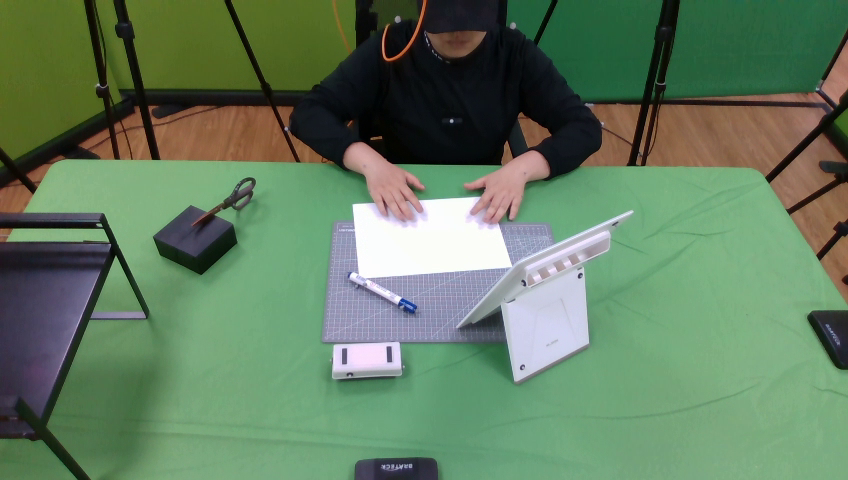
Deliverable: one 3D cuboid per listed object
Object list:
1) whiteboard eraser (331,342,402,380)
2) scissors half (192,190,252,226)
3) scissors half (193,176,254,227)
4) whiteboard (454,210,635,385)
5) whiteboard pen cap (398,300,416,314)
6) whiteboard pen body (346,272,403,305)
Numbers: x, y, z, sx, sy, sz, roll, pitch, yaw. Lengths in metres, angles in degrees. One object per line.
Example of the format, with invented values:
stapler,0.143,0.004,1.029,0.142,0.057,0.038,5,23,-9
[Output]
whiteboard eraser,-0.094,0.198,0.986,0.113,0.042,0.055,-2,44,-6
scissors half,-0.393,-0.060,1.187,0.013,0.040,0.175,24,29,12
scissors half,-0.388,-0.075,1.174,0.013,0.040,0.174,28,47,8
whiteboard,0.210,0.110,0.955,0.217,0.306,0.143,-21,72,-23
whiteboard pen cap,-0.031,0.118,1.081,0.033,0.018,0.018,24,49,19
whiteboard pen body,-0.081,0.092,1.098,0.140,0.017,0.017,26,50,17
